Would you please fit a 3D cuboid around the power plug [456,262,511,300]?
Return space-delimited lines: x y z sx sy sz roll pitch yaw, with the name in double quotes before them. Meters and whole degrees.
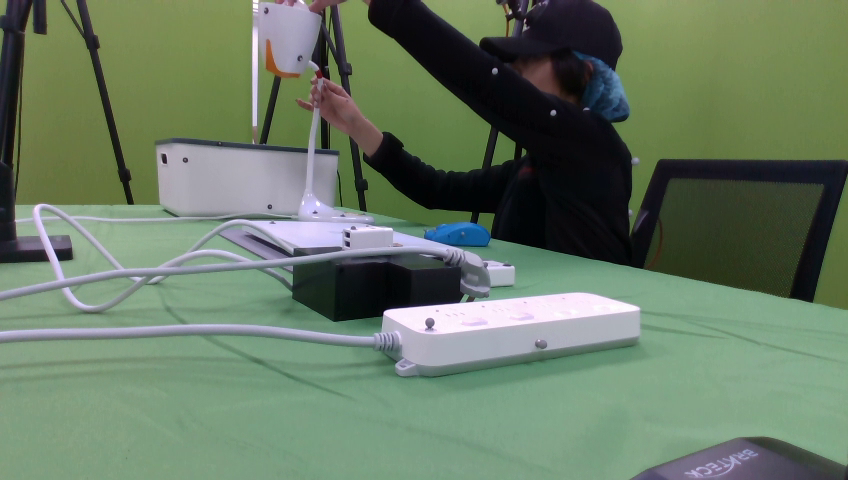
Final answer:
"power plug" 0.051 0.050 0.543 0.035 0.052 0.072 7 38 -20

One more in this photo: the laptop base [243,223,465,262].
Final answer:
"laptop base" -0.126 0.002 0.946 0.237 0.023 0.352 2 6 -31

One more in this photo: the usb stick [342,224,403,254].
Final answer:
"usb stick" -0.047 -0.001 0.567 0.059 0.027 0.021 0 5 -32

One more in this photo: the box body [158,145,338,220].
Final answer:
"box body" -0.410 -0.139 1.414 0.366 0.160 0.253 -2 8 -33

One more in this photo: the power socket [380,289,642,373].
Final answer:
"power socket" 0.072 0.064 0.461 0.228 0.032 0.072 -2 8 -30

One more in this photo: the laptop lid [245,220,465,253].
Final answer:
"laptop lid" -0.124 -0.009 0.945 0.243 0.013 0.355 1 7 -29

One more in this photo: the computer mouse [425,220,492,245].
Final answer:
"computer mouse" 0.060 -0.013 1.060 0.117 0.041 0.062 -2 9 -6

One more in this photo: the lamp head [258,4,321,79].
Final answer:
"lamp head" -0.248 -0.357 1.104 0.112 0.123 0.112 7 17 -2

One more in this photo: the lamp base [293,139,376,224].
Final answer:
"lamp base" -0.191 -0.121 1.257 0.179 0.180 0.161 0 6 7

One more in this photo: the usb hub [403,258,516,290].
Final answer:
"usb hub" 0.042 0.038 0.690 0.126 0.025 0.049 -2 9 -29

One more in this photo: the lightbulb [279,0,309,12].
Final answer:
"lightbulb" -0.242 -0.379 1.091 0.059 0.107 0.059 17 11 -3

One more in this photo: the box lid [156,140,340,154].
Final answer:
"box lid" -0.409 -0.212 1.404 0.373 0.015 0.262 -2 8 -32
